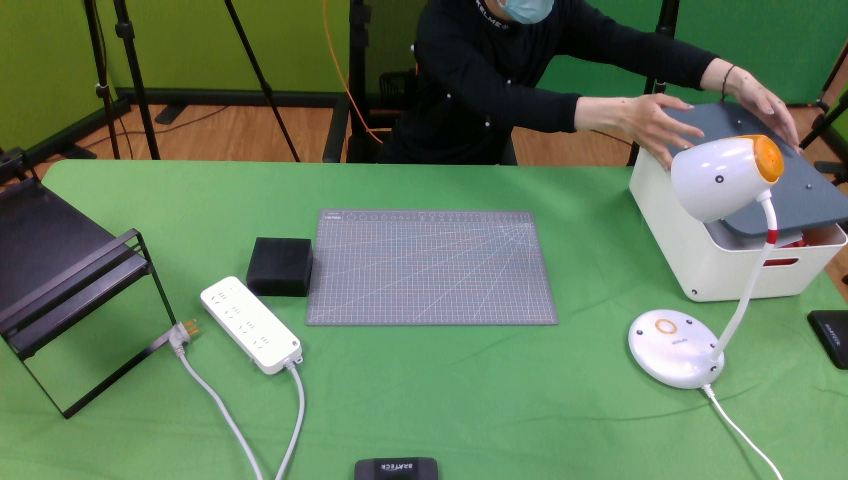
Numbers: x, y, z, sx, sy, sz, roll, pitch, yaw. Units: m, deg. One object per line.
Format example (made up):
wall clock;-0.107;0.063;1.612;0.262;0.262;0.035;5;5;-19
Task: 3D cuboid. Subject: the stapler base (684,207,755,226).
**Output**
stapler base;0.589;-0.052;1.205;0.130;0.024;0.041;3;59;11

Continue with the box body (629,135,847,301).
box body;0.593;-0.062;1.202;0.254;0.161;0.361;-3;47;-7

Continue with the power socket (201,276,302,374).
power socket;-0.297;0.141;1.034;0.072;0.033;0.225;-34;58;-30

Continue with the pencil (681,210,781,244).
pencil;0.599;-0.027;1.187;0.194;0.012;0.012;19;48;9

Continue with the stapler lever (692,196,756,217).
stapler lever;0.587;-0.065;1.185;0.118;0.040;0.026;2;58;12

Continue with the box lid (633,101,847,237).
box lid;0.584;-0.148;1.131;0.264;0.015;0.369;-9;46;-13

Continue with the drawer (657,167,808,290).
drawer;0.583;-0.024;1.164;0.194;0.073;0.210;-11;55;2

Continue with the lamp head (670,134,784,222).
lamp head;0.422;-0.089;0.829;0.113;0.123;0.112;8;74;-32

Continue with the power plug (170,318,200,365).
power plug;-0.392;0.167;1.013;0.052;0.035;0.072;-31;89;-23

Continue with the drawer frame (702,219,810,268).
drawer frame;0.585;-0.022;1.161;0.202;0.083;0.212;-11;54;2

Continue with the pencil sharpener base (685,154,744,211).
pencil sharpener base;0.619;-0.123;1.293;0.077;0.107;0.061;-10;48;-12

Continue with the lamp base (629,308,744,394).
lamp base;0.446;0.139;0.987;0.161;0.181;0.178;-18;53;-20

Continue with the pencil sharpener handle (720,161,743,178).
pencil sharpener handle;0.666;-0.149;1.299;0.031;0.068;0.036;-10;83;-12
